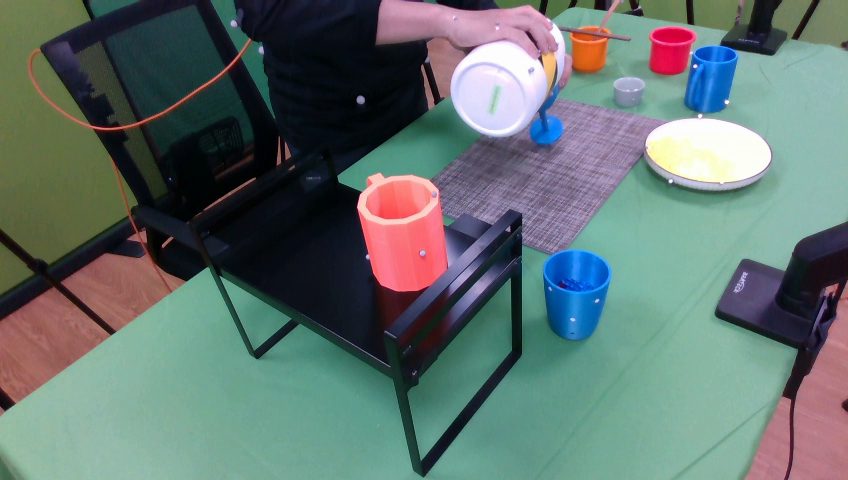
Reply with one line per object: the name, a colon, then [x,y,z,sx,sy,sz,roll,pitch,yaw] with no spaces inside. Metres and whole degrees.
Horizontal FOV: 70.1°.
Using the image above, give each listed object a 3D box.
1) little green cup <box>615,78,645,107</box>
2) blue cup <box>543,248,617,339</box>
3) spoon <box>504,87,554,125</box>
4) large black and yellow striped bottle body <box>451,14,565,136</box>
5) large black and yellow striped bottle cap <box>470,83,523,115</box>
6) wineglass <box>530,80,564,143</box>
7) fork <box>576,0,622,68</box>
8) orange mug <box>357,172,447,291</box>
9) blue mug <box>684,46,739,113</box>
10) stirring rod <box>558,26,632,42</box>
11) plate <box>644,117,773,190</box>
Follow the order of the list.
little green cup: [0.426,-0.306,1.257,0.061,0.039,0.061,-4,40,4]
blue cup: [0.199,0.076,0.797,0.092,0.100,0.092,-4,39,4]
spoon: [0.227,-0.285,1.269,0.041,0.022,0.194,3,37,44]
large black and yellow striped bottle body: [0.135,-0.255,0.914,0.130,0.131,0.184,14,44,24]
large black and yellow striped bottle cap: [0.157,-0.308,1.316,0.115,0.019,0.114,-7,38,6]
wineglass: [0.212,-0.250,1.083,0.073,0.173,0.073,-7,62,14]
fork: [0.409,-0.484,1.381,0.028,0.019,0.207,37,101,45]
orange mug: [-0.030,-0.018,0.669,0.084,0.101,0.125,-23,47,-16]
blue mug: [0.556,-0.310,1.190,0.117,0.106,0.081,-32,46,-25]
stirring rod: [0.381,-0.462,1.356,0.175,0.006,0.014,22,48,30]
plate: [0.495,-0.149,1.063,0.209,0.038,0.208,-5,40,4]
